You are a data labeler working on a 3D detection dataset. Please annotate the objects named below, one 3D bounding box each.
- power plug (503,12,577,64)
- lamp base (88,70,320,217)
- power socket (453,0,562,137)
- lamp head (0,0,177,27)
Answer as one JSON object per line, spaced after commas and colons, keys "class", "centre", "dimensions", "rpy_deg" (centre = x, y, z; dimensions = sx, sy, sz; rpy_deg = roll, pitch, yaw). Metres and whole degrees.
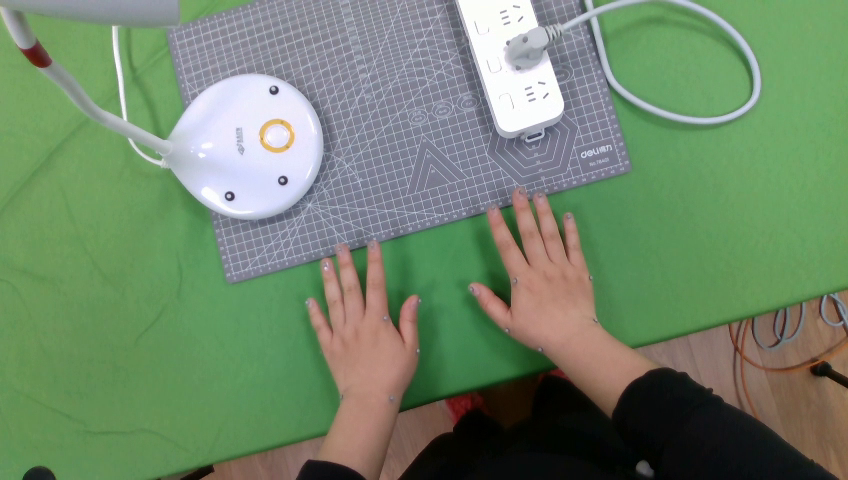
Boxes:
{"class": "power plug", "centre": [0.116, -0.198, 0.608], "dimensions": [0.072, 0.053, 0.035], "rpy_deg": [-7, 88, 3]}
{"class": "lamp base", "centre": [-0.211, -0.105, 0.581], "dimensions": [0.179, 0.180, 0.160], "rpy_deg": [-20, 85, 7]}
{"class": "power socket", "centre": [0.080, -0.219, 0.631], "dimensions": [0.072, 0.032, 0.226], "rpy_deg": [-18, 85, 4]}
{"class": "lamp head", "centre": [-0.186, -0.154, 0.284], "dimensions": [0.123, 0.112, 0.112], "rpy_deg": [-12, 85, -17]}
